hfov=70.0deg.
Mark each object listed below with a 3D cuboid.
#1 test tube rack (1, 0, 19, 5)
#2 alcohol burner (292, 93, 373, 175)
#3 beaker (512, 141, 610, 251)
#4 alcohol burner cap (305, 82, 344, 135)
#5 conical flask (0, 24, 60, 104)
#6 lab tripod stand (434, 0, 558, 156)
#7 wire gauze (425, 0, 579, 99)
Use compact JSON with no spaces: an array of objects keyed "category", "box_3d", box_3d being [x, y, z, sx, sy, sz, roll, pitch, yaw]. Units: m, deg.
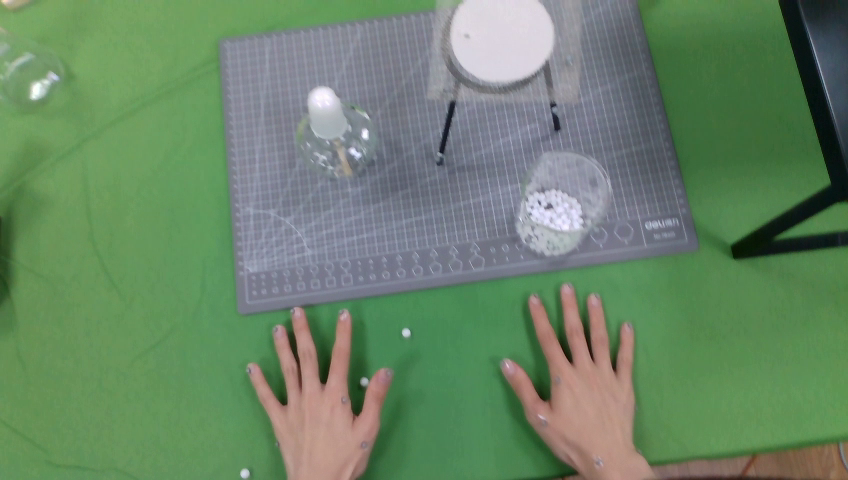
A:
[{"category":"test tube rack","box_3d":[-0.375,-0.355,0.649,0.242,0.085,0.066,-29,77,-5]},{"category":"alcohol burner","box_3d":[-0.087,-0.107,0.564,0.078,0.119,0.077,0,74,1]},{"category":"beaker","box_3d":[0.116,-0.032,0.548,0.084,0.101,0.073,-34,77,-6]},{"category":"alcohol burner cap","box_3d":[-0.089,-0.118,0.530,0.034,0.048,0.033,1,68,-2]},{"category":"conical flask","box_3d":[-0.428,-0.193,0.593,0.075,0.122,0.075,0,76,2]},{"category":"lab tripod stand","box_3d":[0.062,-0.151,0.560,0.148,0.132,0.147,0,75,0]},{"category":"wire gauze","box_3d":[0.066,-0.173,0.496,0.121,0.011,0.124,5,77,1]}]
